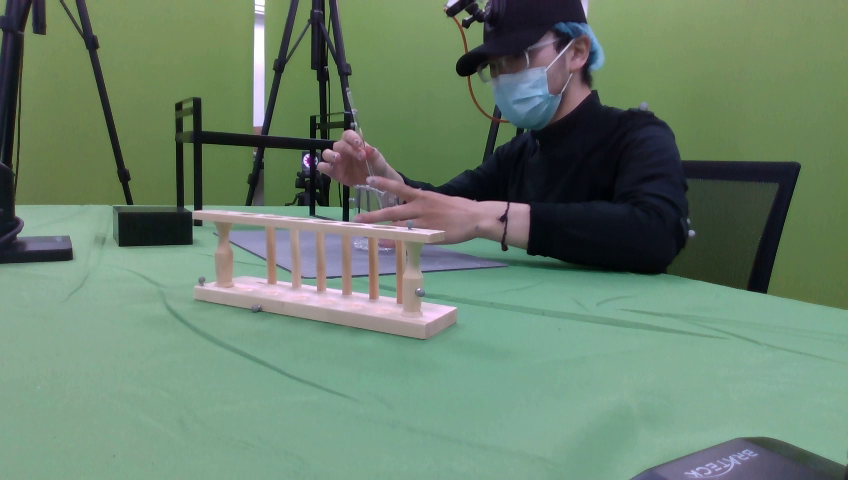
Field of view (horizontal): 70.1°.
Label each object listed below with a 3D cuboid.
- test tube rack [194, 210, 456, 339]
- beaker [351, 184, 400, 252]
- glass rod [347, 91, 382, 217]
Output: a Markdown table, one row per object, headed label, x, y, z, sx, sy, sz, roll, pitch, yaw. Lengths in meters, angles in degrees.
| label | x | y | z | sx | sy | sz | roll | pitch | yaw |
| --- | --- | --- | --- | --- | --- | --- | --- | --- | --- |
| test tube rack | -0.093 | 0.023 | 0.546 | 0.241 | 0.085 | 0.067 | 6 | 7 | 25 |
| beaker | -0.074 | -0.034 | 0.929 | 0.074 | 0.100 | 0.083 | 0 | 8 | -17 |
| glass rod | -0.092 | -0.132 | 0.937 | 0.008 | 0.199 | 0.008 | -14 | 5 | 2 |
